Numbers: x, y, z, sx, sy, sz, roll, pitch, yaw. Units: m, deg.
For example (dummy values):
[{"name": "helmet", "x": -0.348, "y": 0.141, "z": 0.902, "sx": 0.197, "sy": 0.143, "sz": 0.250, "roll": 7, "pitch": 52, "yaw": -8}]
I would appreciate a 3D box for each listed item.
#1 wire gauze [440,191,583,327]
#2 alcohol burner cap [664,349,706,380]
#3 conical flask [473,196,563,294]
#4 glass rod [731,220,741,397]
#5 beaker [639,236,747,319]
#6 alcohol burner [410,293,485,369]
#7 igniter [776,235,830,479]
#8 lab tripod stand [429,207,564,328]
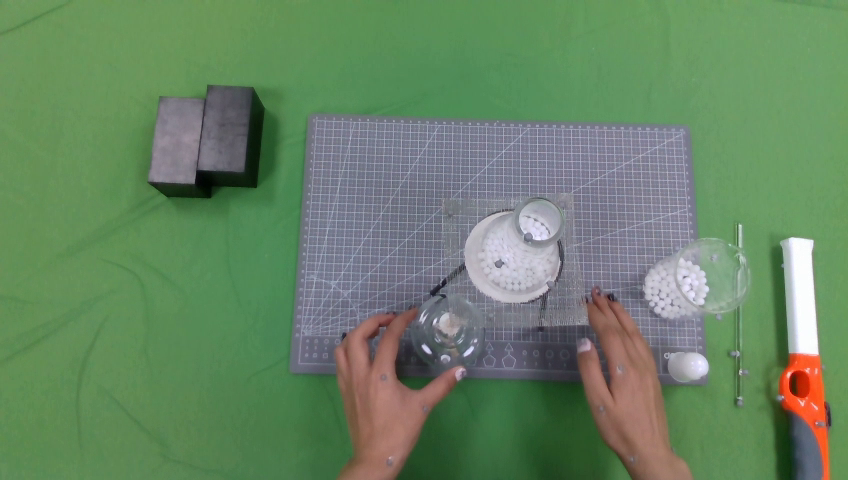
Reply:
[{"name": "wire gauze", "x": 0.079, "y": 0.017, "z": 0.546, "sx": 0.125, "sy": 0.011, "sz": 0.121, "roll": -2, "pitch": 80, "yaw": -4}, {"name": "alcohol burner cap", "x": 0.278, "y": 0.130, "z": 0.638, "sx": 0.034, "sy": 0.048, "sz": 0.033, "roll": 0, "pitch": 76, "yaw": -1}, {"name": "conical flask", "x": 0.081, "y": -0.001, "z": 0.489, "sx": 0.075, "sy": 0.122, "sz": 0.075, "roll": 0, "pitch": 77, "yaw": 0}, {"name": "glass rod", "x": 0.347, "y": 0.073, "z": 0.673, "sx": 0.008, "sy": 0.008, "sz": 0.199, "roll": 6, "pitch": 77, "yaw": 0}, {"name": "beaker", "x": 0.275, "y": 0.041, "z": 0.629, "sx": 0.084, "sy": 0.100, "sz": 0.073, "roll": -35, "pitch": 80, "yaw": -9}, {"name": "alcohol burner", "x": 0.024, "y": 0.088, "z": 0.606, "sx": 0.078, "sy": 0.119, "sz": 0.077, "roll": 0, "pitch": 74, "yaw": -1}, {"name": "igniter", "x": 0.404, "y": 0.130, "z": 0.650, "sx": 0.057, "sy": 0.025, "sz": 0.275, "roll": 6, "pitch": 77, "yaw": -10}, {"name": "lab tripod stand", "x": 0.078, "y": 0.030, "z": 0.610, "sx": 0.148, "sy": 0.132, "sz": 0.147, "roll": 0, "pitch": 79, "yaw": 0}]
